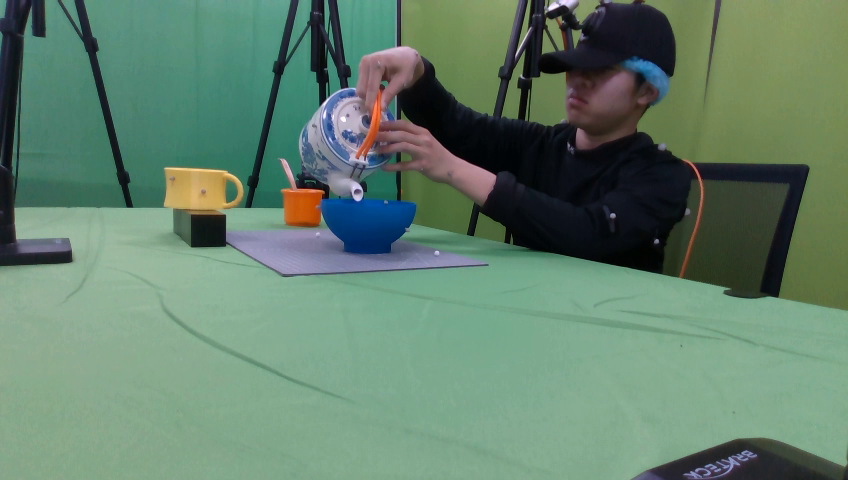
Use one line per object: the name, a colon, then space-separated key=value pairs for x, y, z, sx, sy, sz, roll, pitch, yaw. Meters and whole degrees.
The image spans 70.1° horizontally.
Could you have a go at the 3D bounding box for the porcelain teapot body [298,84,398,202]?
porcelain teapot body: x=-0.121 y=-0.154 z=1.035 sx=0.146 sy=0.205 sz=0.224 roll=8 pitch=-14 yaw=-27

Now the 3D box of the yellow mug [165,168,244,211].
yellow mug: x=-0.370 y=-0.086 z=1.027 sx=0.131 sy=0.064 sz=0.100 roll=5 pitch=8 yaw=4

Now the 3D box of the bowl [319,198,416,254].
bowl: x=-0.089 y=-0.022 z=0.941 sx=0.151 sy=0.077 sz=0.151 roll=2 pitch=8 yaw=0

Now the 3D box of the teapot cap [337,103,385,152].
teapot cap: x=-0.102 y=-0.189 z=1.006 sx=0.085 sy=0.085 sz=0.043 roll=-2 pitch=-6 yaw=-30

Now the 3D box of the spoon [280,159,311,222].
spoon: x=-0.285 y=-0.111 z=1.320 sx=0.042 sy=0.193 sz=0.021 roll=-2 pitch=-36 yaw=-31
